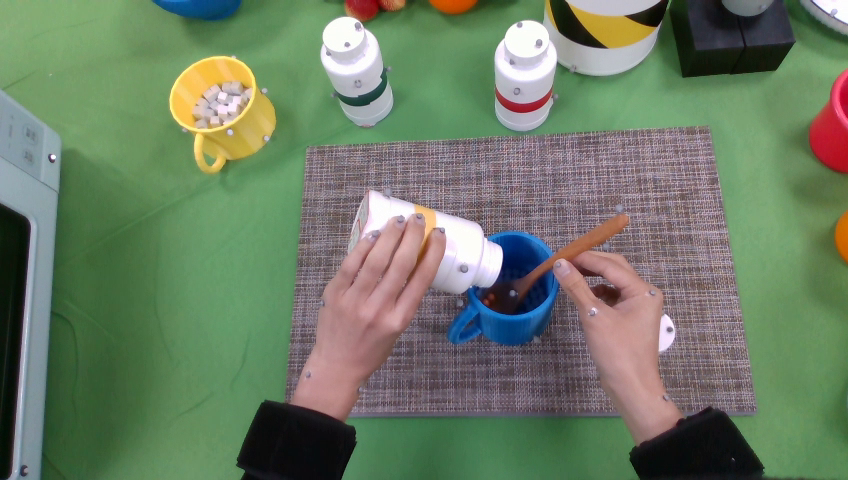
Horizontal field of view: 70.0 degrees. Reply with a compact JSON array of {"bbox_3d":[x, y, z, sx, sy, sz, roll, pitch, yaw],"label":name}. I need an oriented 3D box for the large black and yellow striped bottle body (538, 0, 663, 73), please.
[{"bbox_3d":[0.190,-0.279,0.633,0.130,0.185,0.130,-2,70,6],"label":"large black and yellow striped bottle body"}]

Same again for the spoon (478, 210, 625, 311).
[{"bbox_3d":[0.101,0.025,0.524,0.022,0.194,0.041,10,59,-24],"label":"spoon"}]

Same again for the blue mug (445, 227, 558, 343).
[{"bbox_3d":[0.066,0.055,0.564,0.116,0.106,0.081,-38,69,-8],"label":"blue mug"}]

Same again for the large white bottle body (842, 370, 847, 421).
[{"bbox_3d":[0.432,0.122,0.460,0.130,0.186,0.129,-2,69,6],"label":"large white bottle body"}]

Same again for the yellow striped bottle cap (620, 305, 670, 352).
[{"bbox_3d":[0.213,0.085,0.585,0.044,0.019,0.044,-2,70,6],"label":"yellow striped bottle cap"}]

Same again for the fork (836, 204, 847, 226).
[{"bbox_3d":[0.458,0.004,0.519,0.028,0.019,0.205,-39,27,-7],"label":"fork"}]

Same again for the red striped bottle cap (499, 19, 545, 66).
[{"bbox_3d":[0.096,-0.193,0.591,0.044,0.018,0.044,-1,69,2],"label":"red striped bottle cap"}]

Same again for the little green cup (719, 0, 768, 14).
[{"bbox_3d":[0.341,-0.271,0.636,0.061,0.039,0.061,-1,68,4],"label":"little green cup"}]

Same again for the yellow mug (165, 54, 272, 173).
[{"bbox_3d":[-0.238,-0.139,0.694,0.100,0.064,0.130,7,72,9],"label":"yellow mug"}]

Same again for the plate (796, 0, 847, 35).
[{"bbox_3d":[0.511,-0.308,0.685,0.209,0.038,0.207,-2,71,6],"label":"plate"}]

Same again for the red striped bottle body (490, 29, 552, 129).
[{"bbox_3d":[0.103,-0.174,0.639,0.063,0.120,0.062,-3,68,8],"label":"red striped bottle body"}]

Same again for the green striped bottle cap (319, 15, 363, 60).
[{"bbox_3d":[-0.085,-0.206,0.616,0.044,0.020,0.044,-2,68,6],"label":"green striped bottle cap"}]

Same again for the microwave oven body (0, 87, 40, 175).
[{"bbox_3d":[-0.576,0.055,0.554,0.326,0.262,0.438,-11,70,2],"label":"microwave oven body"}]

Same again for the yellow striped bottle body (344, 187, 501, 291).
[{"bbox_3d":[0.001,0.003,0.491,0.121,0.063,0.062,16,70,-16],"label":"yellow striped bottle body"}]

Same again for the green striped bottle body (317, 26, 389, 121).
[{"bbox_3d":[-0.078,-0.188,0.665,0.063,0.120,0.063,-2,70,5],"label":"green striped bottle body"}]

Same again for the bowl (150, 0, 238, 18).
[{"bbox_3d":[-0.283,-0.337,0.764,0.151,0.077,0.150,-2,70,6],"label":"bowl"}]

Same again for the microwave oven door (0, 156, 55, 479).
[{"bbox_3d":[-0.427,0.066,0.528,0.039,0.245,0.353,-11,69,3],"label":"microwave oven door"}]

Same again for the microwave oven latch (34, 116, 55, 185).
[{"bbox_3d":[-0.448,-0.102,0.699,0.030,0.030,0.078,-9,70,3],"label":"microwave oven latch"}]
